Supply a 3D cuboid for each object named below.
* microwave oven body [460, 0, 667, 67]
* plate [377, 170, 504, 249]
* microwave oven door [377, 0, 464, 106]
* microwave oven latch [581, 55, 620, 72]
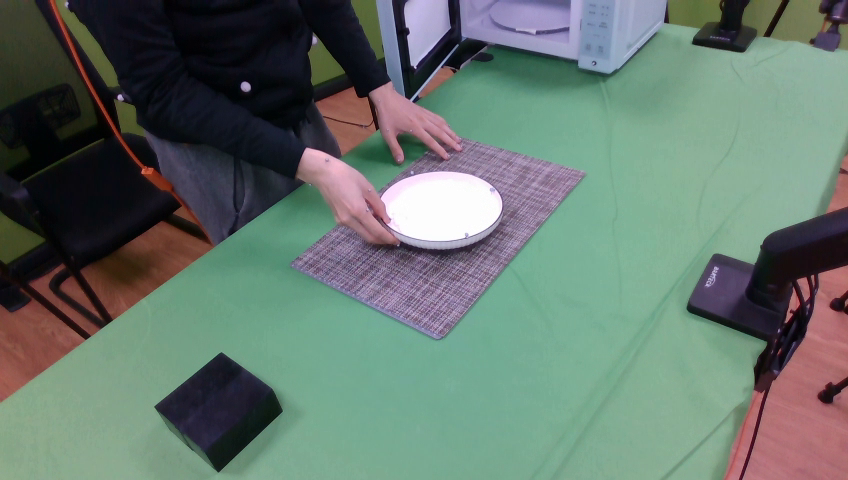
[{"bbox_3d":[0.324,-0.608,1.437,0.438,0.261,0.327,22,50,31],"label":"microwave oven body"},{"bbox_3d":[0.028,-0.048,0.993,0.209,0.038,0.208,-1,37,1],"label":"plate"},{"bbox_3d":[0.003,-0.492,1.344,0.039,0.245,0.356,11,44,21],"label":"microwave oven door"},{"bbox_3d":[0.386,-0.393,1.330,0.078,0.029,0.030,25,51,32],"label":"microwave oven latch"}]
